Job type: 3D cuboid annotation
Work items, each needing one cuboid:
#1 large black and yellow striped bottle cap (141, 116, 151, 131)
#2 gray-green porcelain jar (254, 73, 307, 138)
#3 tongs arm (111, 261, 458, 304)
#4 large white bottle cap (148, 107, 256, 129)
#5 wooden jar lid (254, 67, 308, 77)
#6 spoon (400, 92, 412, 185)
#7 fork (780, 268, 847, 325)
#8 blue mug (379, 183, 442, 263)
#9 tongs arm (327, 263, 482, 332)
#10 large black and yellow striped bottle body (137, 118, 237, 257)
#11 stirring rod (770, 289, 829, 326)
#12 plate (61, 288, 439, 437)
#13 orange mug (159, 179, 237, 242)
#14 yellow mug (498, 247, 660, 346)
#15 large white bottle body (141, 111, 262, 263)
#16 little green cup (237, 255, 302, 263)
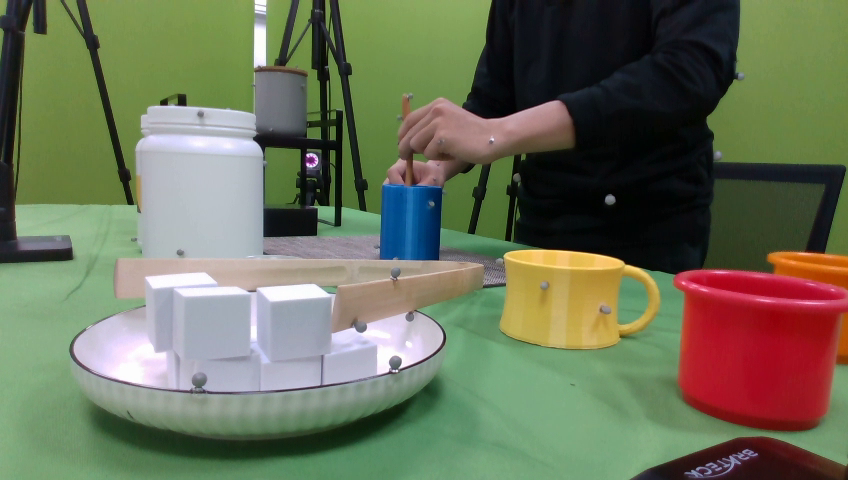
[{"bbox_3d":[-0.328,-0.158,0.837,0.115,0.019,0.115,2,6,0],"label":"large black and yellow striped bottle cap"},{"bbox_3d":[-0.298,-0.277,1.259,0.106,0.126,0.106,3,7,0],"label":"gray-green porcelain jar"},{"bbox_3d":[-0.080,0.032,0.527,0.028,0.027,0.389,-3,-3,33],"label":"tongs arm"},{"bbox_3d":[-0.250,-0.137,0.686,0.115,0.018,0.115,3,8,0],"label":"large white bottle cap"},{"bbox_3d":[-0.296,-0.339,1.251,0.108,0.020,0.108,1,7,0],"label":"wooden jar lid"},{"bbox_3d":[-0.024,-0.096,0.798,0.022,0.193,0.041,-2,4,-37],"label":"spoon"},{"bbox_3d":[0.324,0.018,0.441,0.028,0.018,0.207,-3,-36,-5],"label":"fork"},{"bbox_3d":[-0.020,-0.025,0.833,0.082,0.106,0.116,2,7,-3],"label":"blue mug"},{"bbox_3d":[-0.003,0.036,0.493,0.050,0.026,0.386,1,0,19],"label":"tongs arm"},{"bbox_3d":[-0.330,-0.075,0.849,0.131,0.184,0.130,2,8,0],"label":"large black and yellow striped bottle body"},{"bbox_3d":[0.349,0.022,0.468,0.014,0.006,0.175,-12,-26,-50],"label":"stirring rod"},{"bbox_3d":[-0.095,0.069,0.362,0.208,0.039,0.207,3,7,0],"label":"plate"},{"bbox_3d":[-0.368,-0.051,0.991,0.127,0.101,0.083,-10,14,-41],"label":"orange mug"},{"bbox_3d":[0.130,0.045,0.508,0.131,0.064,0.100,4,7,6],"label":"yellow mug"},{"bbox_3d":[-0.254,-0.053,0.697,0.131,0.184,0.130,2,7,0],"label":"large white bottle body"},{"bbox_3d":[-0.150,0.038,0.589,0.061,0.038,0.061,3,6,0],"label":"little green cup"}]
